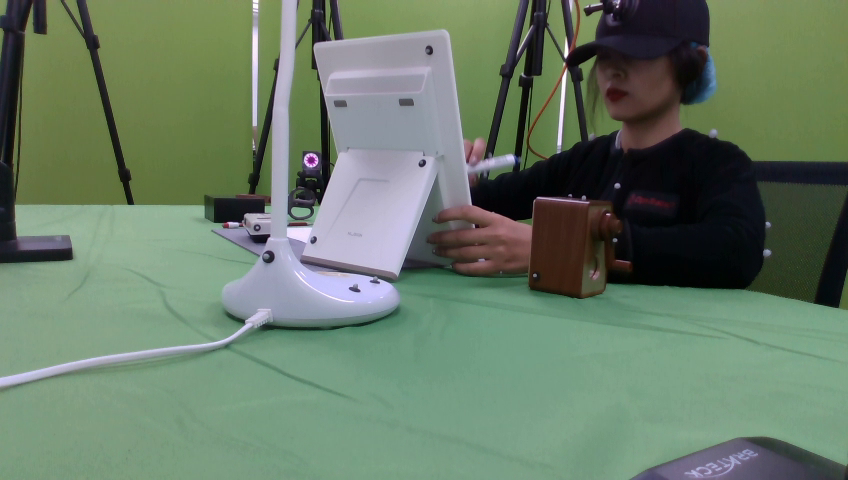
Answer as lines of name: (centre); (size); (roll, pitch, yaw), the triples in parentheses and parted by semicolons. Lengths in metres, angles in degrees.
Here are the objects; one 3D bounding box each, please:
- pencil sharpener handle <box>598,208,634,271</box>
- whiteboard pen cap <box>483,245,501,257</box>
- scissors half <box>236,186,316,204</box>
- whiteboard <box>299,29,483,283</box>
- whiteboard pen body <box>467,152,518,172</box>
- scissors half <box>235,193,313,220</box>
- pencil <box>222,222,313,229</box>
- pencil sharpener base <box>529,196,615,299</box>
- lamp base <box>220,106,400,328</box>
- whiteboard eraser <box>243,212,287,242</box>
pencil sharpener handle: (0.208, 0.000, 0.644); (0.030, 0.068, 0.036); (10, 23, 42)
whiteboard pen cap: (0.104, 0.017, 0.935); (0.018, 0.018, 0.033); (0, 4, -21)
scissors half: (-0.320, -0.096, 1.316); (0.176, 0.040, 0.013); (-4, 13, -29)
whiteboard: (-0.074, -0.082, 0.742); (0.216, 0.305, 0.144); (9, 29, 37)
whiteboard pen body: (0.073, -0.108, 0.872); (0.141, 0.017, 0.017); (-15, 14, -21)
scissors half: (-0.325, -0.077, 1.320); (0.176, 0.040, 0.012); (17, 8, -32)
pencil: (-0.302, -0.030, 1.189); (0.195, 0.012, 0.012); (-2, 9, -42)
pencil sharpener base: (0.168, 0.007, 0.678); (0.076, 0.107, 0.062); (10, 10, 42)
lamp base: (-0.101, -0.023, 0.531); (0.160, 0.180, 0.179); (4, 10, 10)
whiteboard eraser: (-0.260, -0.021, 0.982); (0.056, 0.042, 0.112); (0, 8, -23)
